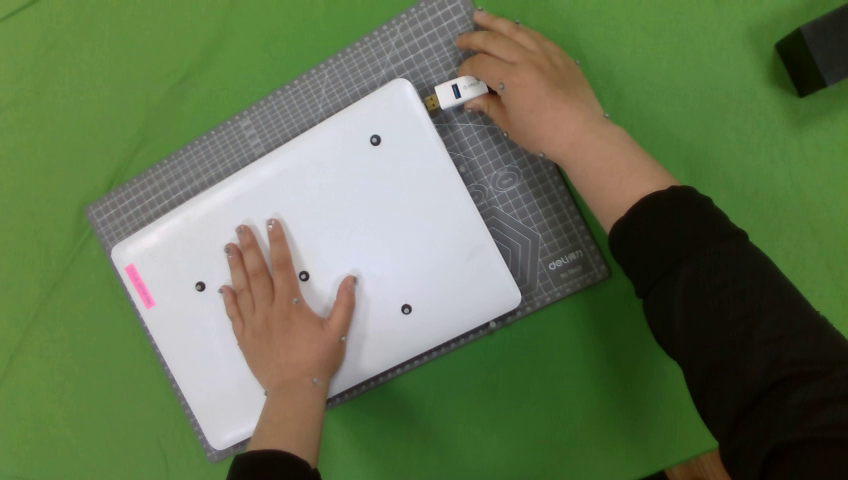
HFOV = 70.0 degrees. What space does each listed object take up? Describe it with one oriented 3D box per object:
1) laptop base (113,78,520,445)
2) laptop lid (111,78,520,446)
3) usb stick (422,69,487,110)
[{"bbox_3d":[-0.113,0.031,0.590,0.354,0.023,0.235,-28,93,12],"label":"laptop base"},{"bbox_3d":[-0.115,0.034,0.580,0.356,0.013,0.242,-26,92,12],"label":"laptop lid"},{"bbox_3d":[0.026,-0.131,0.539,0.059,0.027,0.021,-18,95,11],"label":"usb stick"}]
